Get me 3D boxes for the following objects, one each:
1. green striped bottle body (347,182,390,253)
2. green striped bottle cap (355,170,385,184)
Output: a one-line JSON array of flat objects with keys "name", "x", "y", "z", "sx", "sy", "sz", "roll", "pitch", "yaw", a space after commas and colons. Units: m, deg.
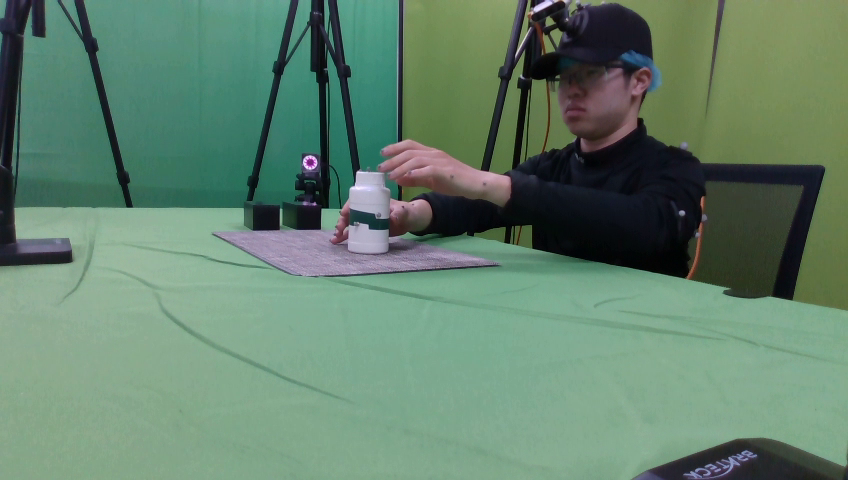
[{"name": "green striped bottle body", "x": -0.083, "y": -0.042, "z": 0.913, "sx": 0.063, "sy": 0.119, "sz": 0.063, "roll": 2, "pitch": 8, "yaw": 0}, {"name": "green striped bottle cap", "x": -0.081, "y": -0.094, "z": 0.907, "sx": 0.044, "sy": 0.020, "sz": 0.044, "roll": 3, "pitch": 9, "yaw": 0}]
